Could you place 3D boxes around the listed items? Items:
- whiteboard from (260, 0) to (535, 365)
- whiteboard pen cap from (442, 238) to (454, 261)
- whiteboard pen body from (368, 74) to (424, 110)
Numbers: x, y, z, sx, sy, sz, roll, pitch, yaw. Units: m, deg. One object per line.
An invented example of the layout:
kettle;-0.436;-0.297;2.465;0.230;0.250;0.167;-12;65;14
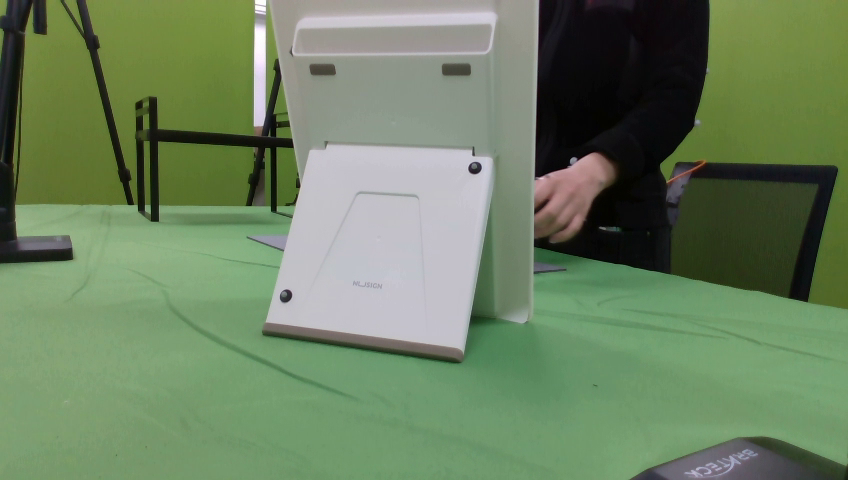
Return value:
whiteboard;-0.037;-0.041;0.457;0.216;0.305;0.144;5;28;19
whiteboard pen cap;0.034;0.014;0.851;0.018;0.033;0.018;3;5;0
whiteboard pen body;-0.045;-0.241;0.988;0.017;0.017;0.140;-6;35;-46
